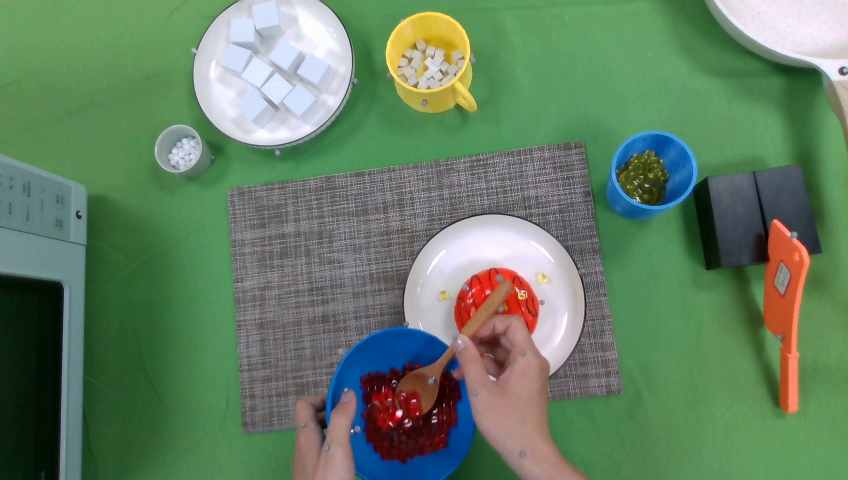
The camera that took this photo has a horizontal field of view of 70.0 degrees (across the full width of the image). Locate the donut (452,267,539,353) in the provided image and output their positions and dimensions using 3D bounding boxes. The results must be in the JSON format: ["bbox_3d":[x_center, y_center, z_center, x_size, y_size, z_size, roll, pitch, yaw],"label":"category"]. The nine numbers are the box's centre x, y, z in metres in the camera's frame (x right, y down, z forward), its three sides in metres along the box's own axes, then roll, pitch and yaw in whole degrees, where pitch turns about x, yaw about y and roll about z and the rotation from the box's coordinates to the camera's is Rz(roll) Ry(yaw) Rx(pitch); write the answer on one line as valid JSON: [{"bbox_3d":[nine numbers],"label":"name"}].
[{"bbox_3d":[0.081,0.080,0.688,0.099,0.048,0.099,-1,85,7],"label":"donut"}]

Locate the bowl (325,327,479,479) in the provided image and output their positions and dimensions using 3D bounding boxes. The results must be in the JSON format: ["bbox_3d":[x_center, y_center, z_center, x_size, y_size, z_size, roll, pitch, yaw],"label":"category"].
[{"bbox_3d":[-0.031,0.167,0.599,0.152,0.077,0.150,8,68,-20],"label":"bowl"}]

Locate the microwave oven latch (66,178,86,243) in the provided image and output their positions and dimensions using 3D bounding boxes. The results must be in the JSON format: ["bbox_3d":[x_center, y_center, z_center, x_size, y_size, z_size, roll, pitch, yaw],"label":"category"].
[{"bbox_3d":[-0.444,-0.037,0.758,0.030,0.029,0.079,-1,83,6],"label":"microwave oven latch"}]

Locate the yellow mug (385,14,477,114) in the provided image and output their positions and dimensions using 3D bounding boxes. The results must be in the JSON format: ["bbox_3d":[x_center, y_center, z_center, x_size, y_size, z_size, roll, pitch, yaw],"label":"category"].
[{"bbox_3d":[0.018,-0.202,0.735,0.100,0.064,0.130,-44,81,-1],"label":"yellow mug"}]

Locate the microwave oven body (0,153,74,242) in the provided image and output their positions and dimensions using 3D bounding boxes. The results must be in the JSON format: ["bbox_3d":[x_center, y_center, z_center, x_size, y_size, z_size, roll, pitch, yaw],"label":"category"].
[{"bbox_3d":[-0.591,0.135,0.652,0.326,0.261,0.440,-4,82,5],"label":"microwave oven body"}]

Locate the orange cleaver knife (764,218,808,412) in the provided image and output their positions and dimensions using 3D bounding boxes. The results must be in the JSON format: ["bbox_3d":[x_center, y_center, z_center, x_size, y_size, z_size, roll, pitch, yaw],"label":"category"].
[{"bbox_3d":[0.383,0.083,0.647,0.012,0.077,0.212,-8,110,5],"label":"orange cleaver knife"}]

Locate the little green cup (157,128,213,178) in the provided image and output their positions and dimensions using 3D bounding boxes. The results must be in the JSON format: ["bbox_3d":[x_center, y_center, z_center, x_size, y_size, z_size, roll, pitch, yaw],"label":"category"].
[{"bbox_3d":[-0.301,-0.108,0.769,0.061,0.039,0.061,-1,82,5],"label":"little green cup"}]

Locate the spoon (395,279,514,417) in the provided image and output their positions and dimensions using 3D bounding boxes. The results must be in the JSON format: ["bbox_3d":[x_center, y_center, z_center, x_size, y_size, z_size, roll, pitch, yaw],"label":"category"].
[{"bbox_3d":[0.028,0.106,0.572,0.041,0.021,0.194,45,124,14],"label":"spoon"}]

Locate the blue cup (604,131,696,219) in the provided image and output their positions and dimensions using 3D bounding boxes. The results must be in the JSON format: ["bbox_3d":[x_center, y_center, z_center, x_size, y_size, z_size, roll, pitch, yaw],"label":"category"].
[{"bbox_3d":[0.241,-0.064,0.674,0.092,0.100,0.092,-1,80,5],"label":"blue cup"}]

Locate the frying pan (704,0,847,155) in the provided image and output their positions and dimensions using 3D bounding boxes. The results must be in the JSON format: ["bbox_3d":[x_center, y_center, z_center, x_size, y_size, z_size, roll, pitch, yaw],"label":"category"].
[{"bbox_3d":[0.456,-0.231,0.671,0.306,0.103,0.485,-2,74,7],"label":"frying pan"}]

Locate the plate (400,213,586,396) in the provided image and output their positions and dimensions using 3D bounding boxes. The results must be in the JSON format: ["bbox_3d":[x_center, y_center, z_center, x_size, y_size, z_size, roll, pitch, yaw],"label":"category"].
[{"bbox_3d":[0.079,0.073,0.700,0.209,0.038,0.208,-1,83,6],"label":"plate"}]

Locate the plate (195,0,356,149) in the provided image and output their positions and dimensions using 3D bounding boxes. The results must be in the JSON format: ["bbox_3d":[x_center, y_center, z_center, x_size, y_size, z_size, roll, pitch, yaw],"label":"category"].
[{"bbox_3d":[-0.185,-0.214,0.774,0.207,0.039,0.207,-1,82,6],"label":"plate"}]

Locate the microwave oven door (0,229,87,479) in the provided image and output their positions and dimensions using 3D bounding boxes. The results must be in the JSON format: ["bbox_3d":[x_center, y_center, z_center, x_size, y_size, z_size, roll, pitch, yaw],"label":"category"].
[{"bbox_3d":[-0.445,0.166,0.627,0.039,0.245,0.354,-4,81,6],"label":"microwave oven door"}]
